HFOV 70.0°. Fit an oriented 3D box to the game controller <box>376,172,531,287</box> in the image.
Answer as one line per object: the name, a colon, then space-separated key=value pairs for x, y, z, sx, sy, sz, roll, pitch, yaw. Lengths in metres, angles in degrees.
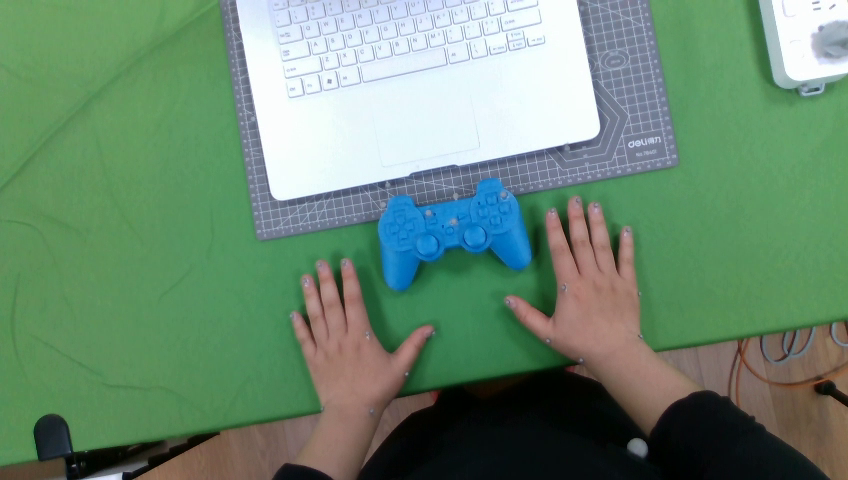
game controller: x=0.026 y=-0.011 z=0.616 sx=0.155 sy=0.052 sz=0.097 roll=-10 pitch=85 yaw=5

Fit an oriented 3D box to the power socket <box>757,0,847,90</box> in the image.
power socket: x=0.368 y=-0.264 z=0.598 sx=0.072 sy=0.032 sz=0.226 roll=-9 pitch=87 yaw=6

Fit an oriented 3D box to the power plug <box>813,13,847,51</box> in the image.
power plug: x=0.407 y=-0.196 z=0.573 sx=0.072 sy=0.053 sz=0.035 roll=2 pitch=88 yaw=2

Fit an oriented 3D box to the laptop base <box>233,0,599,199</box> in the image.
laptop base: x=-0.014 y=-0.191 z=0.640 sx=0.354 sy=0.023 sz=0.235 roll=-11 pitch=90 yaw=5
